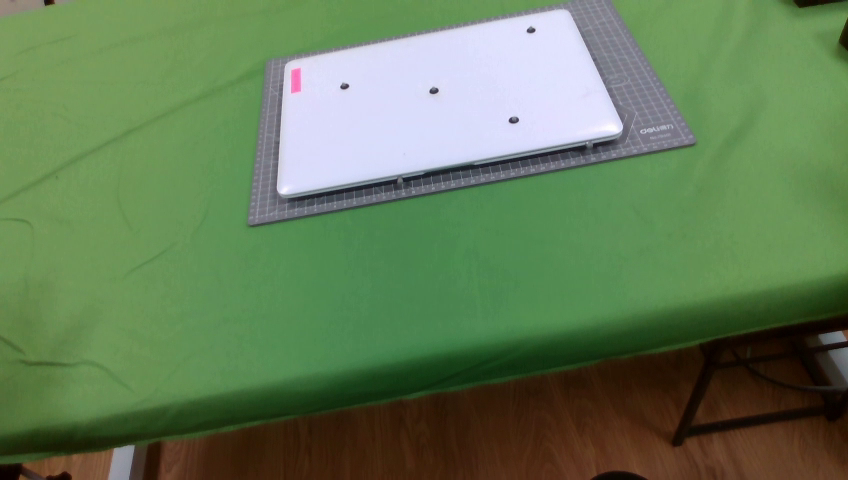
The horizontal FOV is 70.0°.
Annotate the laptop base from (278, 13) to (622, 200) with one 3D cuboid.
[{"bbox_3d":[0.014,-0.155,0.680,0.354,0.023,0.233,-10,52,2],"label":"laptop base"}]

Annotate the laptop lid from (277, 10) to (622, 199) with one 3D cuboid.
[{"bbox_3d":[0.012,-0.160,0.669,0.356,0.013,0.239,-9,51,4],"label":"laptop lid"}]
